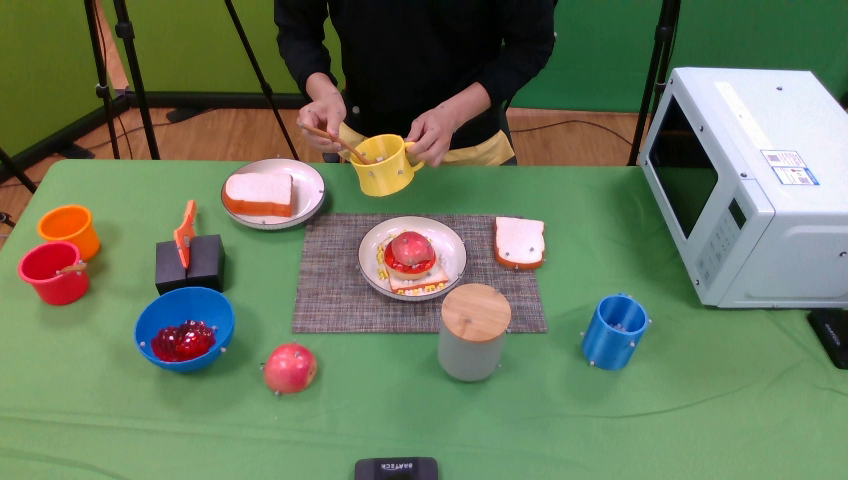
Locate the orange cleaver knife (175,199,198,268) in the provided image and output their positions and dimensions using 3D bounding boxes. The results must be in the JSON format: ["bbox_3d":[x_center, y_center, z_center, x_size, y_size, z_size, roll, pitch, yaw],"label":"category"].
[{"bbox_3d":[-0.438,-0.017,1.138,0.012,0.077,0.210,-14,27,-6],"label":"orange cleaver knife"}]

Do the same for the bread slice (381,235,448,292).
[{"bbox_3d":[-0.027,0.039,1.140,0.107,0.018,0.133,-12,49,-15],"label":"bread slice"}]

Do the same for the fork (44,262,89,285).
[{"bbox_3d":[-0.598,0.054,1.014,0.207,0.019,0.028,-15,28,45],"label":"fork"}]

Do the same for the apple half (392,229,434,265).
[{"bbox_3d":[-0.020,0.004,1.083,0.081,0.033,0.081,6,49,-7],"label":"apple half"}]

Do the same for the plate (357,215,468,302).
[{"bbox_3d":[-0.022,0.037,1.141,0.208,0.039,0.206,2,46,-2],"label":"plate"}]

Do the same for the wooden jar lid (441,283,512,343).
[{"bbox_3d":[0.080,0.114,0.931,0.108,0.021,0.107,1,49,-1],"label":"wooden jar lid"}]

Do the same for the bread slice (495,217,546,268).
[{"bbox_3d":[0.194,0.002,1.205,0.105,0.019,0.131,5,45,3],"label":"bread slice"}]

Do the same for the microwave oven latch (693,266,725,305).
[{"bbox_3d":[0.523,0.082,1.115,0.030,0.029,0.078,3,46,0],"label":"microwave oven latch"}]

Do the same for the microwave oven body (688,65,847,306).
[{"bbox_3d":[0.669,-0.111,1.176,0.326,0.261,0.439,0,46,-3],"label":"microwave oven body"}]

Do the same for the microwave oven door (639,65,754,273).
[{"bbox_3d":[0.522,-0.147,1.193,0.039,0.245,0.353,0,47,-3],"label":"microwave oven door"}]

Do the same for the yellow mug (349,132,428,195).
[{"bbox_3d":[-0.058,-0.138,1.055,0.131,0.064,0.099,-15,38,3],"label":"yellow mug"}]

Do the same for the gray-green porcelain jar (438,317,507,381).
[{"bbox_3d":[0.076,0.158,0.977,0.106,0.127,0.105,2,47,-2],"label":"gray-green porcelain jar"}]

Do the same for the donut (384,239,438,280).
[{"bbox_3d":[-0.025,0.030,1.110,0.099,0.048,0.098,3,46,-2],"label":"donut"}]

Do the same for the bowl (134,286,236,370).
[{"bbox_3d":[-0.377,0.155,0.981,0.151,0.077,0.150,2,46,-2],"label":"bowl"}]

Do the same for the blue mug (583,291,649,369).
[{"bbox_3d":[0.324,0.142,1.023,0.082,0.106,0.116,15,47,11],"label":"blue mug"}]

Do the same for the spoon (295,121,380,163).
[{"bbox_3d":[-0.132,-0.160,1.016,0.195,0.021,0.041,26,11,-40],"label":"spoon"}]

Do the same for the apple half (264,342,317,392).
[{"bbox_3d":[-0.214,0.198,0.970,0.074,0.053,0.080,19,48,10],"label":"apple half"}]

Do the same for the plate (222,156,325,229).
[{"bbox_3d":[-0.308,-0.095,1.251,0.209,0.038,0.208,2,47,-2],"label":"plate"}]
